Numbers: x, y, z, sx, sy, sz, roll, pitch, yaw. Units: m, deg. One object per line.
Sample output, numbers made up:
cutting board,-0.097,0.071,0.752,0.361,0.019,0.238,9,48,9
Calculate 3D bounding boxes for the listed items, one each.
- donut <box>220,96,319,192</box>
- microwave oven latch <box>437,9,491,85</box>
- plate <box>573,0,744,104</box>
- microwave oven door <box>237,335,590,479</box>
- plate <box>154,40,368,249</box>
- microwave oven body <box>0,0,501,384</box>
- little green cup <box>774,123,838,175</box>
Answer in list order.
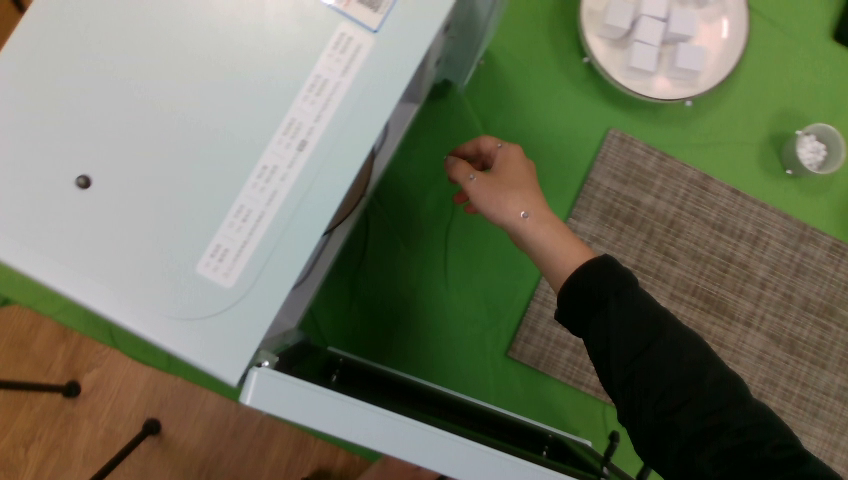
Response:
donut,-0.155,-0.097,0.611,0.099,0.048,0.099,0,87,-3
microwave oven latch,0.046,-0.218,0.691,0.030,0.029,0.079,33,85,-2
plate,0.278,-0.263,0.733,0.208,0.039,0.207,0,86,-5
microwave oven door,0.025,0.173,0.561,0.356,0.244,0.039,21,84,-3
plate,-0.162,-0.094,0.616,0.209,0.038,0.209,0,89,-6
microwave oven body,-0.161,-0.141,0.572,0.326,0.260,0.441,29,85,-3
little green cup,0.463,-0.108,0.737,0.061,0.038,0.061,0,85,-5
